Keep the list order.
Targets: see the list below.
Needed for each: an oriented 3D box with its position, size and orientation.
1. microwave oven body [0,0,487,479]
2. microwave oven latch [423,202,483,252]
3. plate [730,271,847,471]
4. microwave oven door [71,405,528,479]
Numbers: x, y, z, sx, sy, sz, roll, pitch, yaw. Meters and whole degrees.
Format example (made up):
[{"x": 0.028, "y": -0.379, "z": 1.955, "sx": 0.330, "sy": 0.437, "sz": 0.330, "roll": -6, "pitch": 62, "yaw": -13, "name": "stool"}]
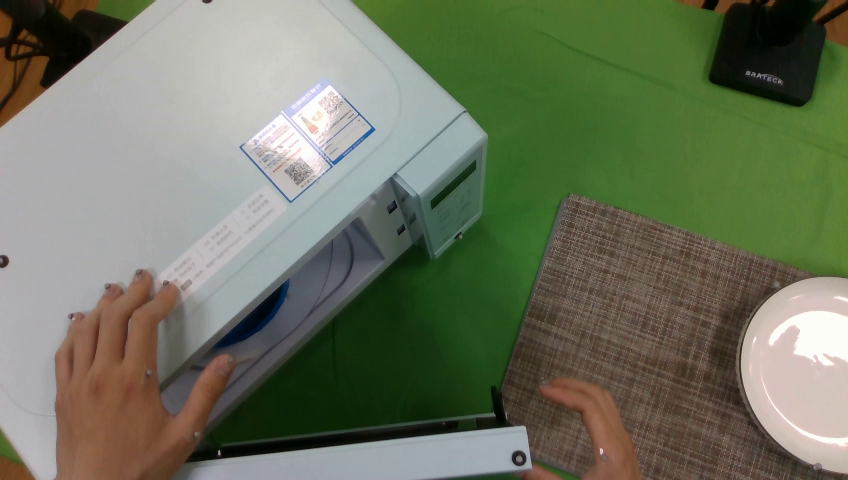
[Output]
[{"x": -0.204, "y": -0.029, "z": 0.616, "sx": 0.441, "sy": 0.261, "sz": 0.324, "roll": -43, "pitch": 78, "yaw": -6, "name": "microwave oven body"}, {"x": 0.033, "y": -0.023, "z": 0.699, "sx": 0.079, "sy": 0.029, "sz": 0.030, "roll": -41, "pitch": 78, "yaw": -5, "name": "microwave oven latch"}, {"x": 0.433, "y": 0.138, "z": 0.650, "sx": 0.207, "sy": 0.039, "sz": 0.206, "roll": -1, "pitch": 77, "yaw": 3, "name": "plate"}, {"x": -0.093, "y": 0.193, "z": 0.552, "sx": 0.356, "sy": 0.245, "sz": 0.039, "roll": -7, "pitch": 76, "yaw": 2, "name": "microwave oven door"}]
